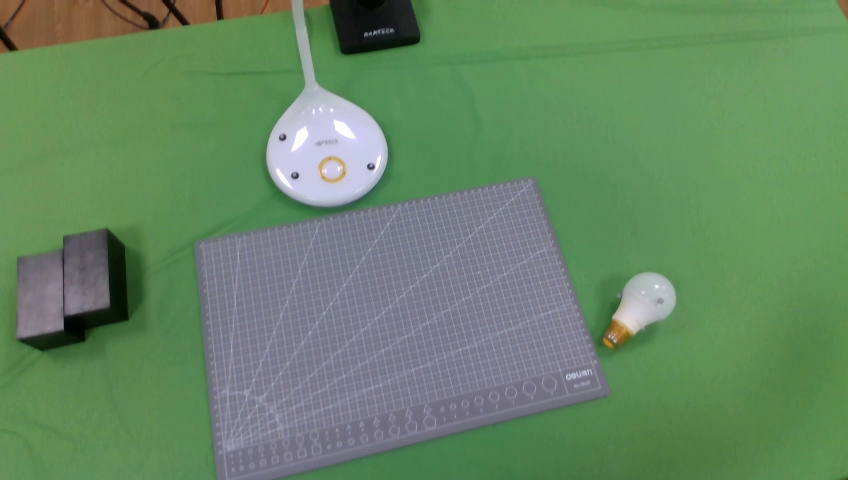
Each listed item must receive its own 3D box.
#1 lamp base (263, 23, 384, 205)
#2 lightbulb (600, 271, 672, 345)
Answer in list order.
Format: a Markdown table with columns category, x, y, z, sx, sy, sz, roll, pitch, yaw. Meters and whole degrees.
| category | x | y | z | sx | sy | sz | roll | pitch | yaw |
| --- | --- | --- | --- | --- | --- | --- | --- | --- | --- |
| lamp base | -0.136 | -0.159 | 0.744 | 0.161 | 0.181 | 0.177 | -20 | 66 | -11 |
| lightbulb | 0.251 | 0.084 | 0.730 | 0.059 | 0.060 | 0.107 | 42 | 87 | 14 |
